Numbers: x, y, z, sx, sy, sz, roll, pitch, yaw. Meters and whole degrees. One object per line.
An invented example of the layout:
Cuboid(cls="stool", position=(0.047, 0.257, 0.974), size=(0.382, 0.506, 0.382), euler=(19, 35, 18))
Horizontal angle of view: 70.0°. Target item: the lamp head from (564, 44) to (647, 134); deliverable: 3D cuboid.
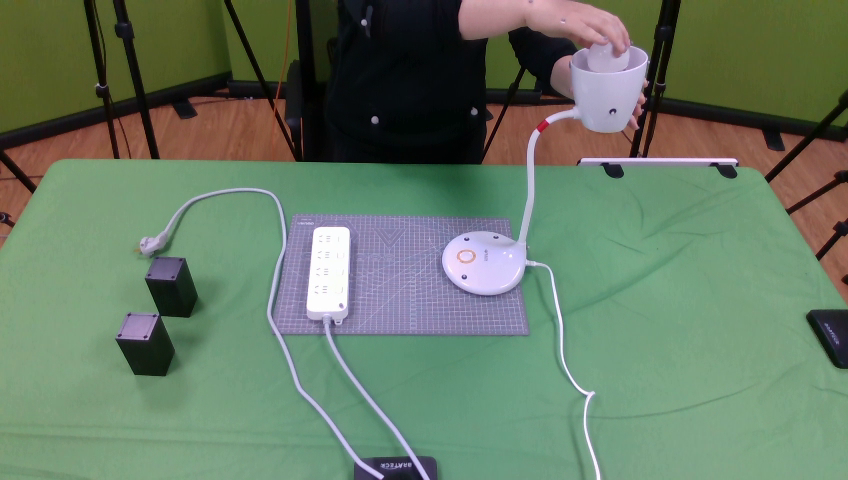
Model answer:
Cuboid(cls="lamp head", position=(0.274, -0.225, 0.931), size=(0.112, 0.123, 0.112), euler=(-2, 38, 1))

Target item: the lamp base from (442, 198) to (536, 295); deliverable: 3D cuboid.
Cuboid(cls="lamp base", position=(0.130, -0.012, 1.105), size=(0.179, 0.181, 0.159), euler=(-1, 46, -9))

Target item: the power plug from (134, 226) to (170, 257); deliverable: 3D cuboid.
Cuboid(cls="power plug", position=(-0.515, 0.006, 1.153), size=(0.052, 0.035, 0.072), euler=(-6, 24, 7))

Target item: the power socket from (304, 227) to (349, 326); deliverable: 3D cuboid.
Cuboid(cls="power socket", position=(-0.177, 0.059, 1.115), size=(0.072, 0.033, 0.225), euler=(-1, 46, -4))

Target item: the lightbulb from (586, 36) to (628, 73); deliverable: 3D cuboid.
Cuboid(cls="lightbulb", position=(0.274, -0.252, 0.912), size=(0.059, 0.108, 0.059), euler=(-6, 36, 5))
